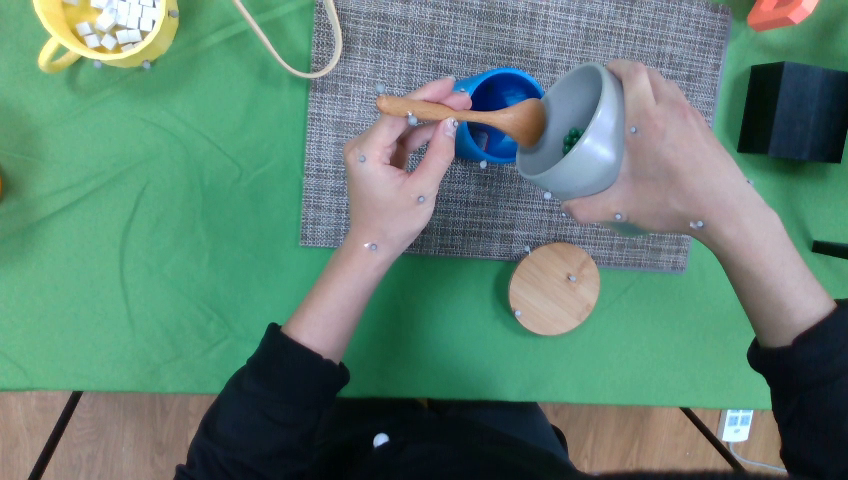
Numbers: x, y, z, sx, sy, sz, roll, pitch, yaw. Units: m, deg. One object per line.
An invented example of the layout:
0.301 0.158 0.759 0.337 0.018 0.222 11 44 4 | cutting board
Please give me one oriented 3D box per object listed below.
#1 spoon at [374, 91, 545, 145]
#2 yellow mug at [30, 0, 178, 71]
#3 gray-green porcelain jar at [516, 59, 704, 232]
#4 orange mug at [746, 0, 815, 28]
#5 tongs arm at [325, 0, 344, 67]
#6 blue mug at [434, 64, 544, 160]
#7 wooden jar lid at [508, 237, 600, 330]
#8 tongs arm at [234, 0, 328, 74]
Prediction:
0.036 -0.096 0.461 0.195 0.021 0.042 -5 110 -41 | spoon
-0.277 -0.191 0.513 0.131 0.063 0.100 -46 107 0 | yellow mug
0.158 -0.073 0.509 0.127 0.105 0.106 26 94 -22 | gray-green porcelain jar
0.396 -0.285 0.633 0.084 0.100 0.126 28 89 -16 | orange mug
-0.133 -0.344 0.513 0.028 0.027 0.390 -23 112 -16 | tongs arm
0.074 -0.113 0.586 0.117 0.105 0.082 31 93 -17 | blue mug
0.144 0.048 0.681 0.108 0.020 0.109 -3 105 -11 | wooden jar lid
-0.205 -0.304 0.501 0.051 0.026 0.388 -35 113 -8 | tongs arm
